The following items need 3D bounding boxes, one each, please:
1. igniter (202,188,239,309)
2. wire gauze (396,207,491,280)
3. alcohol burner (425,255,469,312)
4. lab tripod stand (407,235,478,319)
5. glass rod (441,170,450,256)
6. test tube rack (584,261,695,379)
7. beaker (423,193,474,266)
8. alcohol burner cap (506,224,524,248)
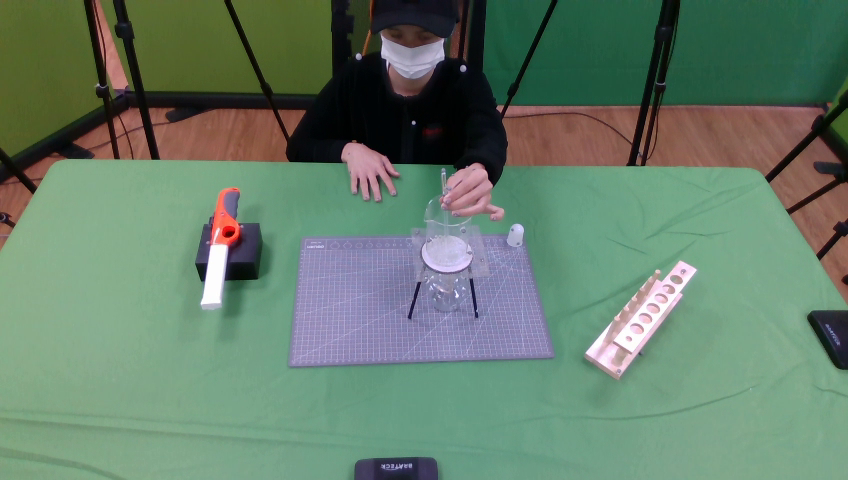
[{"bbox_3d":[-0.367,0.006,1.095,0.057,0.025,0.274,-2,50,-7],"label":"igniter"},{"bbox_3d":[0.032,0.006,1.001,0.125,0.011,0.120,-20,52,-16],"label":"wire gauze"},{"bbox_3d":[0.041,0.072,1.065,0.078,0.120,0.077,1,46,-1],"label":"alcohol burner"},{"bbox_3d":[0.032,0.065,1.057,0.148,0.132,0.147,1,45,-1],"label":"lab tripod stand"},{"bbox_3d":[0.034,-0.035,0.921,0.008,0.201,0.008,-2,53,3],"label":"glass rod"},{"bbox_3d":[0.380,0.127,1.062,0.066,0.085,0.242,34,53,26],"label":"test tube rack"},{"bbox_3d":[0.036,-0.013,0.973,0.084,0.101,0.073,-18,49,-19],"label":"beaker"},{"bbox_3d":[0.183,-0.010,1.206,0.034,0.048,0.033,1,45,0],"label":"alcohol burner cap"}]
